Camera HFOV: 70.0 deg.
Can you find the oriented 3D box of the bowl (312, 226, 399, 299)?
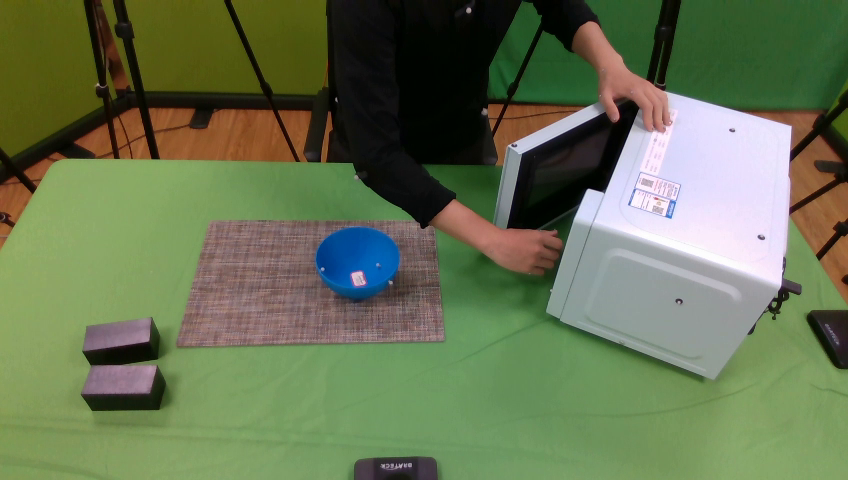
[{"bbox_3d":[-0.120,0.054,1.091,0.151,0.077,0.150,2,46,-2],"label":"bowl"}]

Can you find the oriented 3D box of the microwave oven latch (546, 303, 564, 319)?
[{"bbox_3d":[0.242,0.102,1.081,0.030,0.029,0.079,22,48,17],"label":"microwave oven latch"}]

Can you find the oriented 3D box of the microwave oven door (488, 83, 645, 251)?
[{"bbox_3d":[0.281,-0.144,1.180,0.356,0.245,0.039,-28,54,-27],"label":"microwave oven door"}]

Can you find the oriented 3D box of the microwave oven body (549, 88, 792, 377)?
[{"bbox_3d":[0.456,-0.028,1.088,0.325,0.261,0.440,20,47,16],"label":"microwave oven body"}]
